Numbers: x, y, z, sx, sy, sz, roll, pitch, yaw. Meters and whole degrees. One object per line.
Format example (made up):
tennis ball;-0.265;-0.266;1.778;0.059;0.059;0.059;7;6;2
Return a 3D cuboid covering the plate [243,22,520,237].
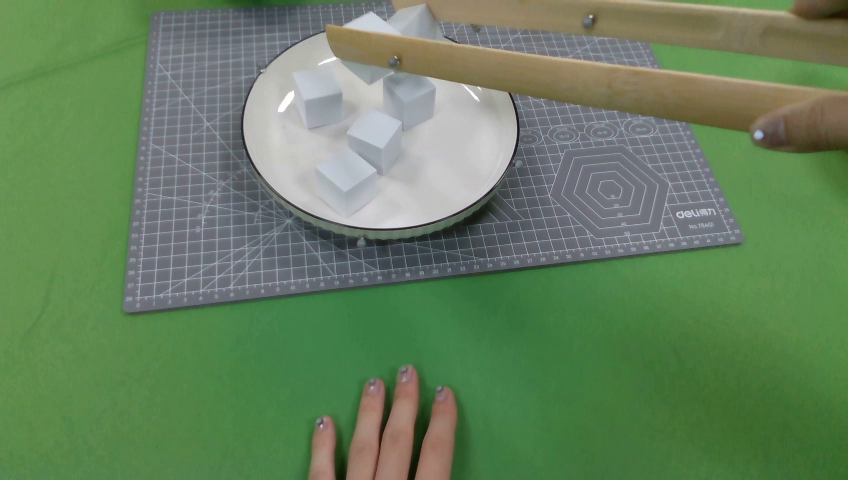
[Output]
plate;-0.031;-0.087;0.472;0.208;0.039;0.205;2;59;-3

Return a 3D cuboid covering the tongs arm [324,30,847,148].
tongs arm;0.082;-0.087;0.320;0.384;0.028;0.028;19;51;35

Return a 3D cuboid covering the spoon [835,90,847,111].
spoon;0.409;-0.107;0.455;0.041;0.192;0.022;-26;107;-15

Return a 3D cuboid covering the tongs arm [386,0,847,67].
tongs arm;0.106;-0.113;0.337;0.381;0.027;0.050;20;55;35
